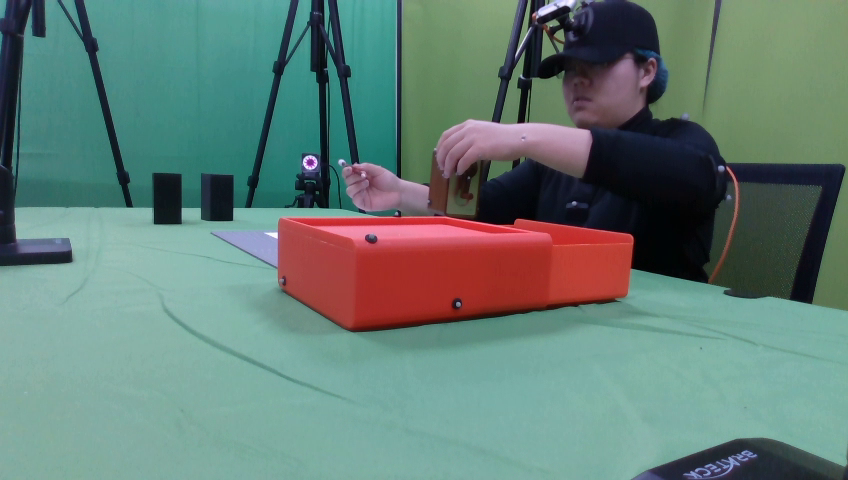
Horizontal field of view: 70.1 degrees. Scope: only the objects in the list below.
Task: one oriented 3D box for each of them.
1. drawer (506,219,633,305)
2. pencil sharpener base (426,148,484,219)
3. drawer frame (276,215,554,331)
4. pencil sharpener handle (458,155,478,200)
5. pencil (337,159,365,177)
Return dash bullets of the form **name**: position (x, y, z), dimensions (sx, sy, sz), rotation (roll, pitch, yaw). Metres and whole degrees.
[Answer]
- **drawer**: position (0.085, 0.021, 0.673), dimensions (0.213, 0.073, 0.193), rotation (-2, 9, -32)
- **pencil sharpener base**: position (0.050, -0.091, 0.974), dimensions (0.061, 0.107, 0.076), rotation (3, 9, -25)
- **drawer frame**: position (-0.015, 0.022, 0.610), dimensions (0.215, 0.082, 0.200), rotation (-3, 9, -32)
- **pencil sharpener handle**: position (0.072, -0.095, 0.926), dimensions (0.036, 0.067, 0.030), rotation (5, 8, -25)
- **pencil**: position (-0.131, -0.129, 1.088), dimensions (0.012, 0.012, 0.193), rotation (0, 14, -21)
